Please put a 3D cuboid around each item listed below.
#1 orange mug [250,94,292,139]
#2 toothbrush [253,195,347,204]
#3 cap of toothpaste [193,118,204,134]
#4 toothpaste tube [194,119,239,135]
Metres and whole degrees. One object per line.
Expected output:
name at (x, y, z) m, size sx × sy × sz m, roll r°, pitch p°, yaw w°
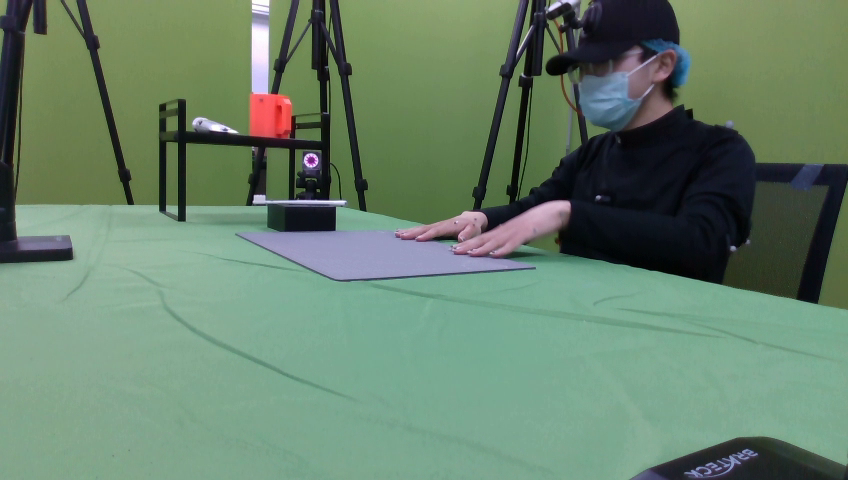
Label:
orange mug at (-0.339, -0.279, 1.364) m, size 0.125 × 0.100 × 0.084 m, roll 4°, pitch 6°, yaw 45°
toothbrush at (-0.234, -0.076, 1.154) m, size 0.183 × 0.016 × 0.014 m, roll -1°, pitch 5°, yaw -27°
cap of toothpaste at (-0.497, -0.255, 1.350) m, size 0.037 × 0.037 × 0.011 m, roll -4°, pitch 14°, yaw -38°
toothpaste tube at (-0.451, -0.238, 1.289) m, size 0.055 × 0.034 × 0.164 m, roll -8°, pitch 16°, yaw -38°
